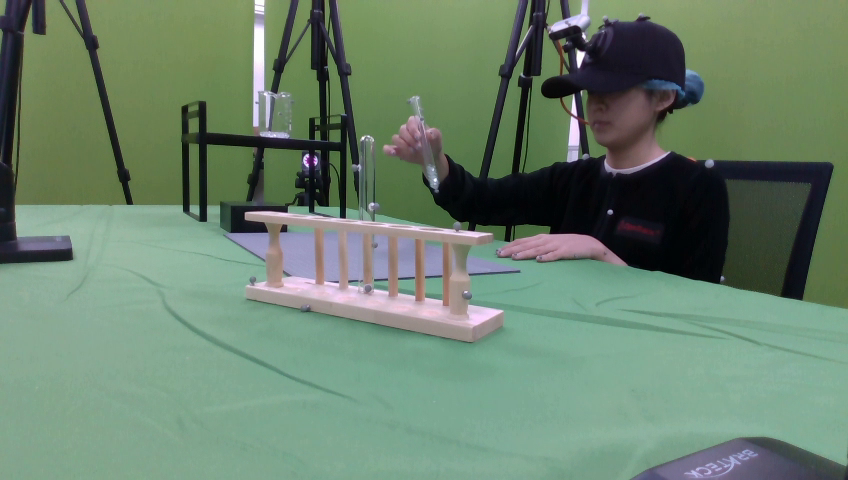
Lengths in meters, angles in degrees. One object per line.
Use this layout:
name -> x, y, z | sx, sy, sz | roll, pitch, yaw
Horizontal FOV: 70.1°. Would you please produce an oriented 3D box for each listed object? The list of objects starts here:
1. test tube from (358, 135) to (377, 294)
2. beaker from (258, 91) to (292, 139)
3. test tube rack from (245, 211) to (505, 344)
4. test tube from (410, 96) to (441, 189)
test tube -> -0.053, -0.022, 0.565 | 0.017, 0.150, 0.017 | 2, 6, 0
beaker -> -0.331, -0.276, 1.343 | 0.074, 0.100, 0.083 | 0, 8, -20
test tube rack -> -0.049, 0.025, 0.547 | 0.241, 0.085, 0.067 | 7, 8, 28
test tube -> 0.003, -0.155, 0.962 | 0.017, 0.150, 0.017 | -14, 2, 1
